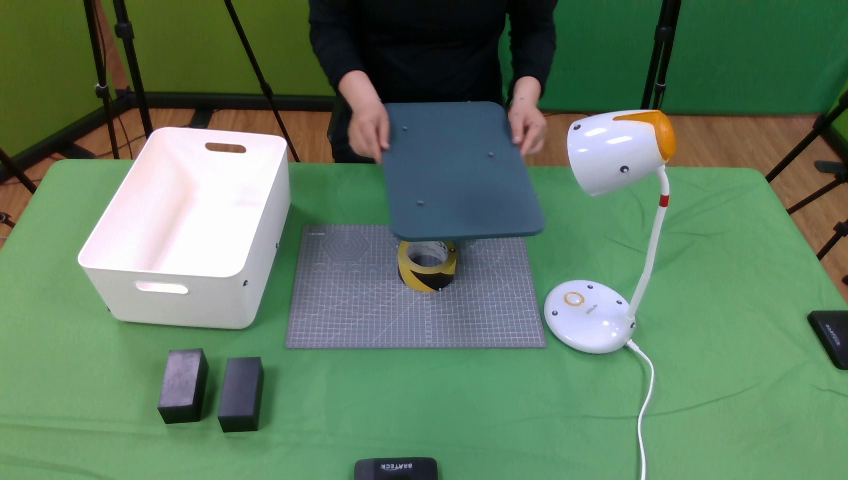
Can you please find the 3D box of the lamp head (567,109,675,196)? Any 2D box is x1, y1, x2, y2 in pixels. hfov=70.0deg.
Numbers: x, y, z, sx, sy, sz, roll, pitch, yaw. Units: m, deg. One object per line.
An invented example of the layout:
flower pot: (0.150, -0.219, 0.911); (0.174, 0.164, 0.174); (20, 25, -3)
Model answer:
lamp head: (0.272, -0.123, 0.818); (0.122, 0.113, 0.112); (-9, 35, 37)

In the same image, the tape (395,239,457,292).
tape: (0.004, 0.039, 1.136); (0.117, 0.053, 0.116); (2, 46, -2)

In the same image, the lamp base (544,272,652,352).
lamp base: (0.310, 0.086, 1.029); (0.178, 0.181, 0.160); (32, 52, 21)

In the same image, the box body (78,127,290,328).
box body: (-0.400, -0.026, 1.095); (0.254, 0.161, 0.362); (4, 46, 0)

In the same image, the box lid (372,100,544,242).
box lid: (0.050, -0.138, 1.095); (0.264, 0.015, 0.369); (-3, 48, -9)
